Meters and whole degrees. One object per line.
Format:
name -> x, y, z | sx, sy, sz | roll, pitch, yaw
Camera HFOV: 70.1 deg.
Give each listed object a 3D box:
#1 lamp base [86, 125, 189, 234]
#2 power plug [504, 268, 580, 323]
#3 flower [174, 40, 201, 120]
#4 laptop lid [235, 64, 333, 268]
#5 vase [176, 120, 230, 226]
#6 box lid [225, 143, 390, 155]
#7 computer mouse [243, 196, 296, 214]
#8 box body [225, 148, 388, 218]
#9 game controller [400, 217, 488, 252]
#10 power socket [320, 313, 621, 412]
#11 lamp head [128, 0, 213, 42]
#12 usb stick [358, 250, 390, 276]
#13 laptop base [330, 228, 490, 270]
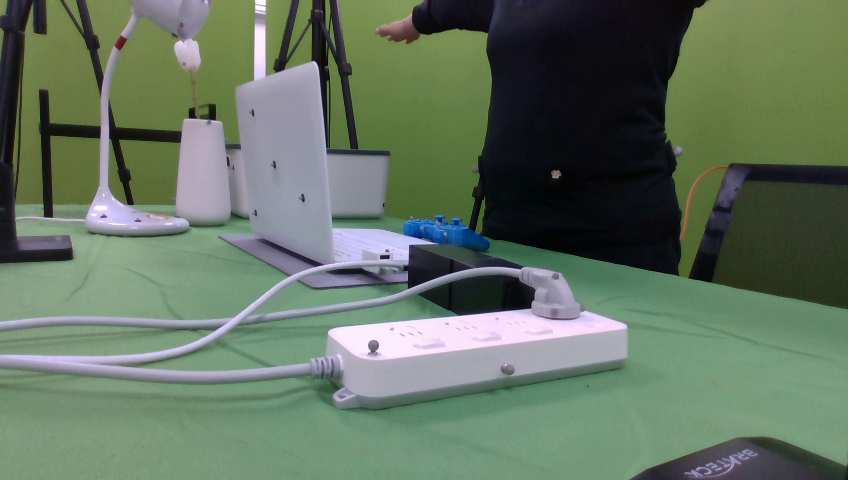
lamp base -> -0.497, -0.105, 1.027 | 0.179, 0.180, 0.160 | 1, 7, 2
power plug -> 0.091, 0.051, 0.470 | 0.035, 0.052, 0.072 | 0, 7, -16
flower -> -0.430, -0.211, 1.165 | 0.044, 0.361, 0.038 | -10, -5, -24
laptop lid -> -0.203, -0.103, 0.827 | 0.013, 0.241, 0.355 | -9, 14, -30
vase -> -0.425, -0.128, 1.159 | 0.098, 0.200, 0.098 | 2, 9, 0
box lid -> -0.296, -0.217, 1.463 | 0.373, 0.015, 0.262 | -2, 8, -29
computer mouse -> -0.362, -0.082, 1.416 | 0.117, 0.041, 0.063 | -3, 10, 5
box body -> -0.299, -0.143, 1.473 | 0.366, 0.160, 0.253 | -1, 9, -30
game controller -> 0.029, -0.011, 1.027 | 0.097, 0.051, 0.154 | -4, 9, -34
power socket -> 0.038, 0.075, 0.410 | 0.228, 0.032, 0.072 | -2, 8, -29
lamp head -> -0.423, -0.394, 0.980 | 0.123, 0.112, 0.112 | 20, 7, -3
usb stick -> -0.062, 0.026, 0.709 | 0.021, 0.027, 0.059 | -2, 3, -29
laptop base -> -0.095, 0.011, 0.912 | 0.237, 0.023, 0.352 | 2, 6, -32
